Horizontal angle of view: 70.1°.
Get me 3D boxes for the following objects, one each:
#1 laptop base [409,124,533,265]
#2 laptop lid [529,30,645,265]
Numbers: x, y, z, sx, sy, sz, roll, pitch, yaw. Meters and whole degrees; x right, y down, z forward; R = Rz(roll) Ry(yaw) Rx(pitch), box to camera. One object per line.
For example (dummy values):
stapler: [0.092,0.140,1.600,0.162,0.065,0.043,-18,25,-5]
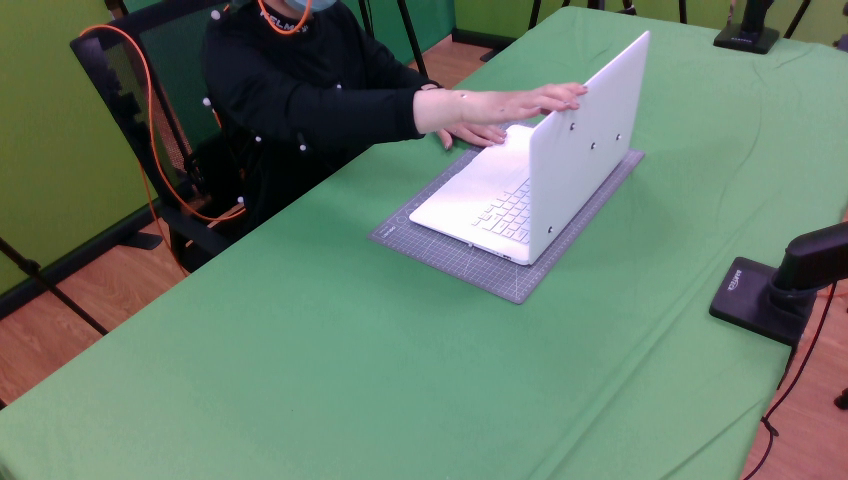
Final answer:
laptop base: [0.168,-0.095,1.057,0.233,0.023,0.355,20,47,32]
laptop lid: [0.252,-0.145,0.919,0.013,0.242,0.358,23,47,31]
